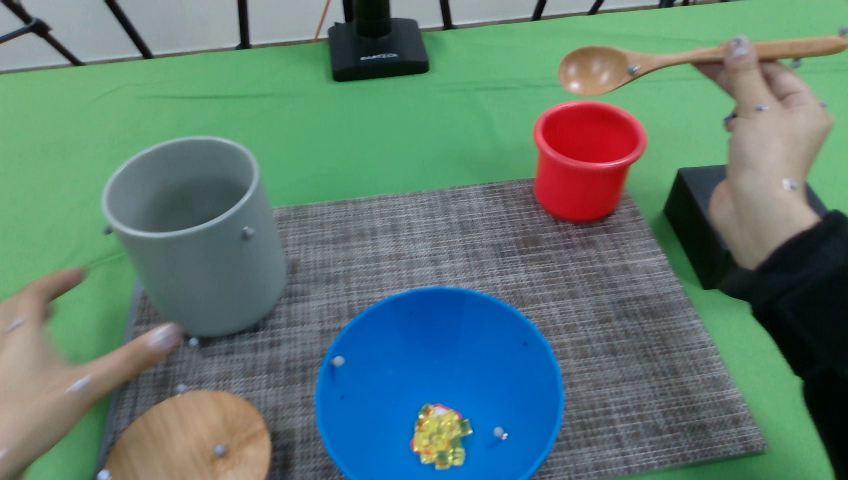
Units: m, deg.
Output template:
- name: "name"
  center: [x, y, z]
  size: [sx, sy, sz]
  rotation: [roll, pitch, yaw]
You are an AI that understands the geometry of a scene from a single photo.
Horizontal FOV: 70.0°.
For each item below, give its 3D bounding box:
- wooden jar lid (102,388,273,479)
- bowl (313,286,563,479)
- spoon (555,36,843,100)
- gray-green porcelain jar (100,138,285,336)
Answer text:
- name: "wooden jar lid"
  center: [-0.154, 0.150, 0.401]
  size: [0.108, 0.021, 0.107]
  rotation: [-1, 47, 2]
- name: "bowl"
  center: [0.010, 0.112, 0.393]
  size: [0.151, 0.077, 0.150]
  rotation: [0, 47, 1]
- name: "spoon"
  center: [0.191, -0.130, 0.445]
  size: [0.192, 0.022, 0.041]
  rotation: [2, 80, 34]
- name: "gray-green porcelain jar"
  center: [-0.167, 0.004, 0.464]
  size: [0.106, 0.127, 0.105]
  rotation: [0, 47, 1]
